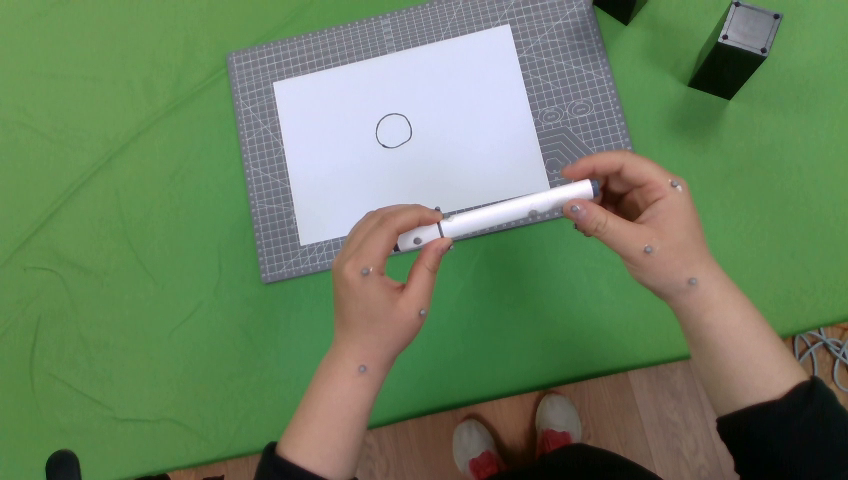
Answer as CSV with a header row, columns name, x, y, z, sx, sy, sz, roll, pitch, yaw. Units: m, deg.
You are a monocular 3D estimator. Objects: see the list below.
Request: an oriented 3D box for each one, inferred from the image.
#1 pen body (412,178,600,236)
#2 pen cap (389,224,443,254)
name,x,y,z,sx,sy,sz,roll,pitch,yaw
pen body,0.053,-0.020,0.435,0.144,0.017,0.017,-13,78,5
pen cap,-0.006,-0.002,0.440,0.038,0.017,0.017,-19,78,-8
